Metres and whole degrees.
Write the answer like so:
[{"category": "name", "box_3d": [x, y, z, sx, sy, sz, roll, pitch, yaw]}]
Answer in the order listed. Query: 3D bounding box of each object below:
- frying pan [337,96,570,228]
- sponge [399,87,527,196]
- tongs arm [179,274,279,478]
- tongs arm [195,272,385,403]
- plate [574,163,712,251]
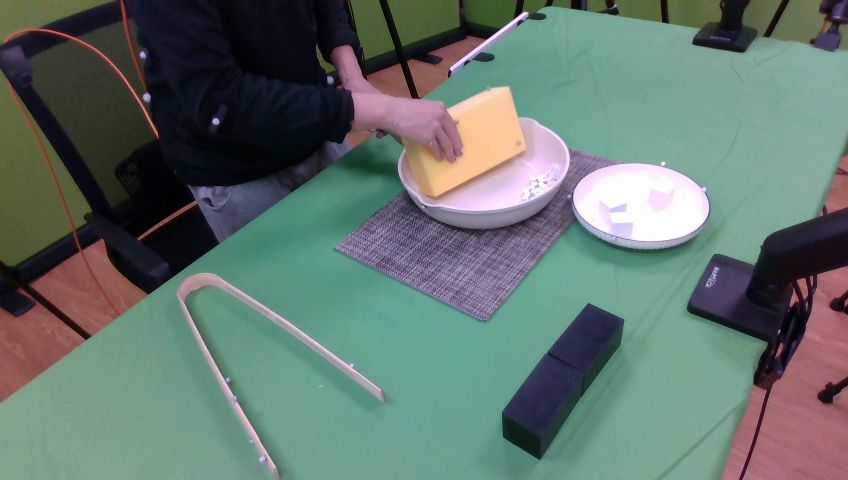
[{"category": "frying pan", "box_3d": [0.023, -0.167, 1.090, 0.484, 0.103, 0.308, 32, 52, 26]}, {"category": "sponge", "box_3d": [0.072, -0.176, 1.065, 0.207, 0.118, 0.060, -30, 23, -20]}, {"category": "tongs arm", "box_3d": [-0.260, 0.161, 0.807, 0.051, 0.026, 0.381, -28, 44, -25]}, {"category": "tongs arm", "box_3d": [-0.198, 0.126, 0.847, 0.384, 0.028, 0.028, 25, 52, 32]}, {"category": "plate", "box_3d": [0.344, -0.050, 0.966, 0.207, 0.039, 0.206, -4, 40, 4]}]
